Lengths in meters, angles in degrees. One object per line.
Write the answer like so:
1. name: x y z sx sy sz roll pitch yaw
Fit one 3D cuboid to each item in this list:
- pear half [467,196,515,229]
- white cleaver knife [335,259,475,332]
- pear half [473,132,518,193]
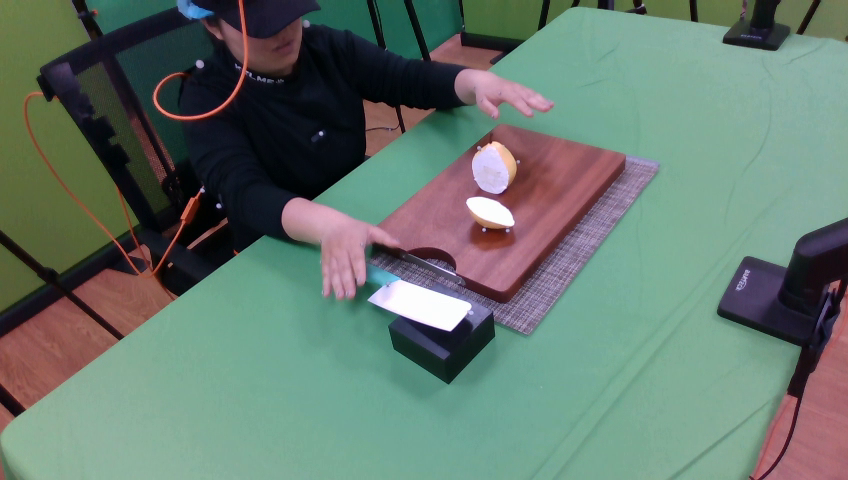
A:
1. pear half: 0.105 -0.037 0.957 0.071 0.031 0.087 -23 53 -37
2. white cleaver knife: -0.045 0.072 0.859 0.066 0.021 0.284 -36 32 -31
3. pear half: 0.123 -0.139 1.015 0.076 0.110 0.056 17 47 23
